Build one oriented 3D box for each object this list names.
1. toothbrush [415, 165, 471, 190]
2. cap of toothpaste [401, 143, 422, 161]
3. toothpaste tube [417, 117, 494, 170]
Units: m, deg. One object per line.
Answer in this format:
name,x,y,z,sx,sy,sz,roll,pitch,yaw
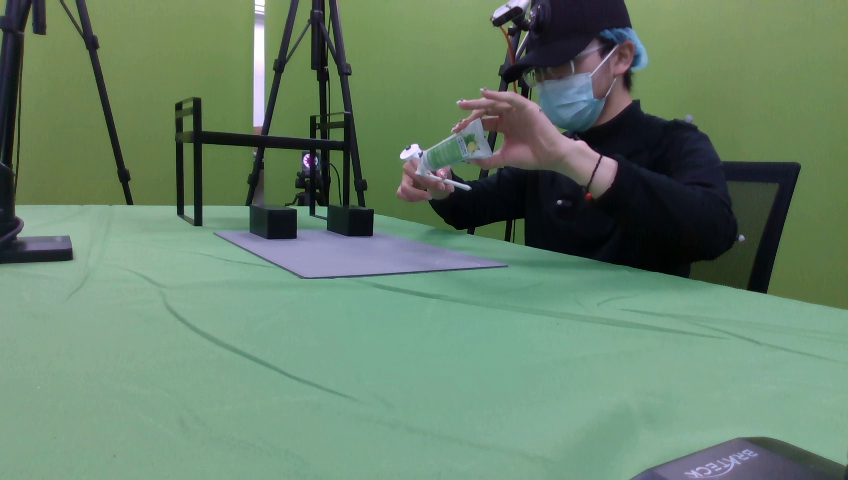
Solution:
toothbrush,0.036,-0.104,1.018,0.014,0.016,0.183,10,1,30
cap of toothpaste,-0.019,-0.136,0.942,0.037,0.037,0.011,12,-31,51
toothpaste tube,0.041,-0.132,0.875,0.034,0.055,0.164,-32,12,-31
